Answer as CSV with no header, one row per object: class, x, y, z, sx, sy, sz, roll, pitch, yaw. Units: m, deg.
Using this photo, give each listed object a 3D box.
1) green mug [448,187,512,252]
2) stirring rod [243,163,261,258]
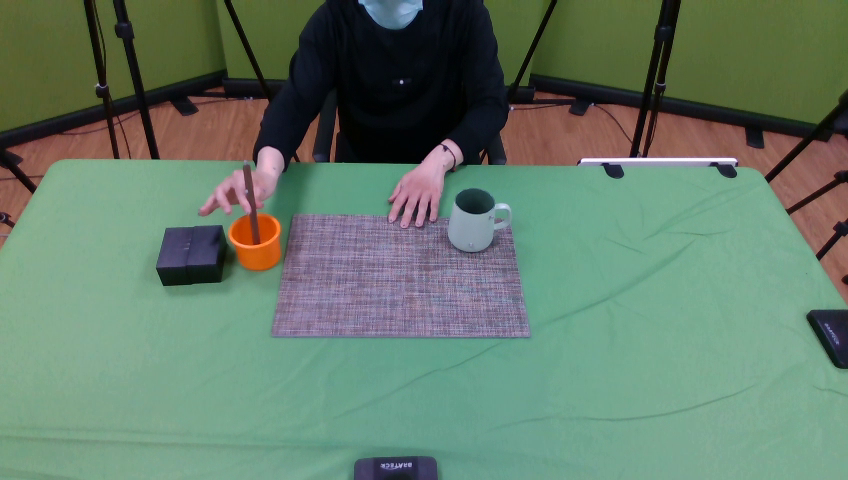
green mug,0.111,-0.041,1.179,0.125,0.105,0.092,-7,47,-10
stirring rod,-0.308,-0.051,1.086,0.006,0.176,0.014,13,24,33
